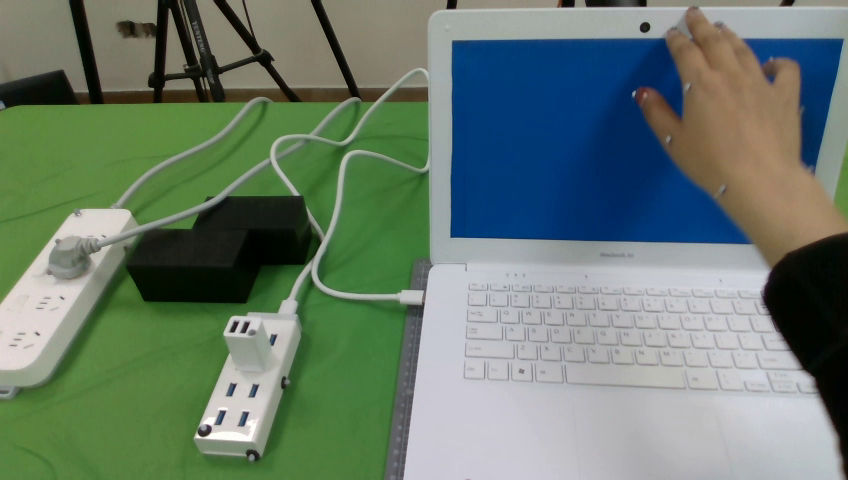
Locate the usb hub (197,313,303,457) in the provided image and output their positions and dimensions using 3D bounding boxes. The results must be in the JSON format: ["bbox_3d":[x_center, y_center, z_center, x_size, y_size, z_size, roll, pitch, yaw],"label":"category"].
[{"bbox_3d":[-0.140,0.115,0.500,0.049,0.025,0.124,1,42,7],"label":"usb hub"}]

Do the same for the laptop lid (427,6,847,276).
[{"bbox_3d":[0.178,-0.076,0.526,0.356,0.243,0.013,0,21,6],"label":"laptop lid"}]

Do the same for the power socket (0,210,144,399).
[{"bbox_3d":[-0.346,0.047,0.581,0.072,0.033,0.224,2,42,5],"label":"power socket"}]

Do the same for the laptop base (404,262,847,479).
[{"bbox_3d":[0.169,0.113,0.484,0.354,0.023,0.233,1,46,5],"label":"laptop base"}]

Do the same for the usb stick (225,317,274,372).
[{"bbox_3d":[-0.137,0.088,0.485,0.027,0.060,0.021,0,43,7],"label":"usb stick"}]

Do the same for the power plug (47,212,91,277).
[{"bbox_3d":[-0.341,0.010,0.590,0.035,0.053,0.072,-2,34,-13],"label":"power plug"}]
